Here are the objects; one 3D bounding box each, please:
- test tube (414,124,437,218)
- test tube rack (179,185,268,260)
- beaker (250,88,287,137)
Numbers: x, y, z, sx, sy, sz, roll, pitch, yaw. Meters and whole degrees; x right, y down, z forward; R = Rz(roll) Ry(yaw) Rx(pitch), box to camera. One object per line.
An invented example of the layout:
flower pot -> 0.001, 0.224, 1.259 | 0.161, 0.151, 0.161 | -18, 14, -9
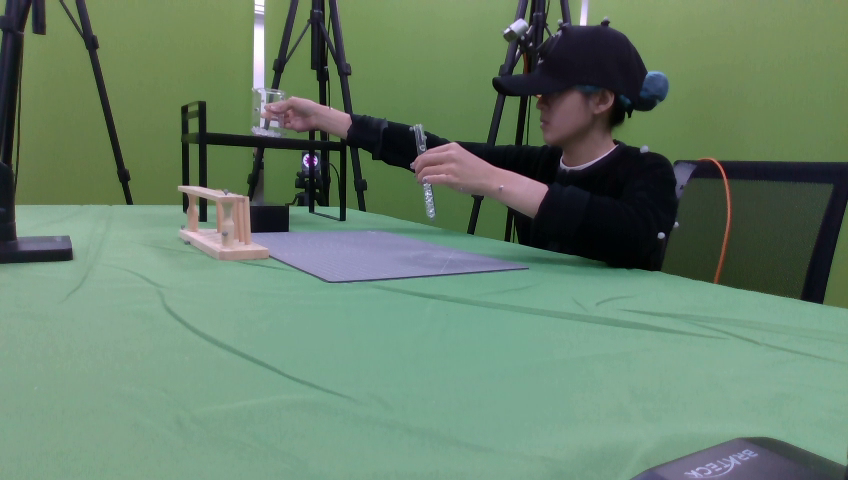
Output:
test tube -> 0.002, -0.109, 0.954 | 0.017, 0.150, 0.017 | -8, -1, 0
test tube rack -> -0.303, -0.031, 0.898 | 0.067, 0.085, 0.241 | -2, 9, -33
beaker -> -0.347, -0.281, 1.338 | 0.073, 0.100, 0.084 | 12, 9, 35
